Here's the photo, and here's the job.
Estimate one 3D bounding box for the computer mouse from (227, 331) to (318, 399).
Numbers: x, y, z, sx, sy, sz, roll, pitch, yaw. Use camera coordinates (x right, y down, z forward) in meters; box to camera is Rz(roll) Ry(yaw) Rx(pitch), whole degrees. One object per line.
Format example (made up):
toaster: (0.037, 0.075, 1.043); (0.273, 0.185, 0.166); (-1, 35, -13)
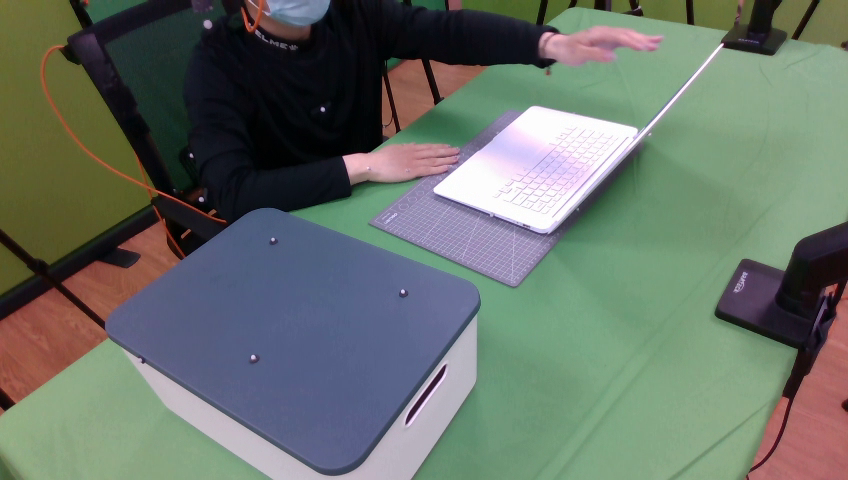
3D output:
computer mouse: (-0.201, 0.159, 0.804); (0.118, 0.041, 0.062); (-29, 40, -33)

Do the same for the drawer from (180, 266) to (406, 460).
drawer: (-0.162, 0.145, 0.772); (0.210, 0.073, 0.195); (22, 46, 32)

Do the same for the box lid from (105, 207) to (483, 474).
box lid: (-0.149, 0.079, 0.678); (0.369, 0.015, 0.264); (20, 46, 28)

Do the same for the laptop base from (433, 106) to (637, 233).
laptop base: (0.210, -0.142, 1.111); (0.233, 0.023, 0.355); (21, 48, 33)

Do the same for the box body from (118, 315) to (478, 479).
box body: (-0.140, 0.136, 0.725); (0.361, 0.161, 0.254); (19, 47, 28)

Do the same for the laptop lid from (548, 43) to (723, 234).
laptop lid: (0.336, -0.160, 0.956); (0.013, 0.241, 0.358); (43, 54, 8)

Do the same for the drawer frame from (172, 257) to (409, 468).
drawer frame: (-0.164, 0.141, 0.767); (0.212, 0.083, 0.202); (24, 51, 28)
